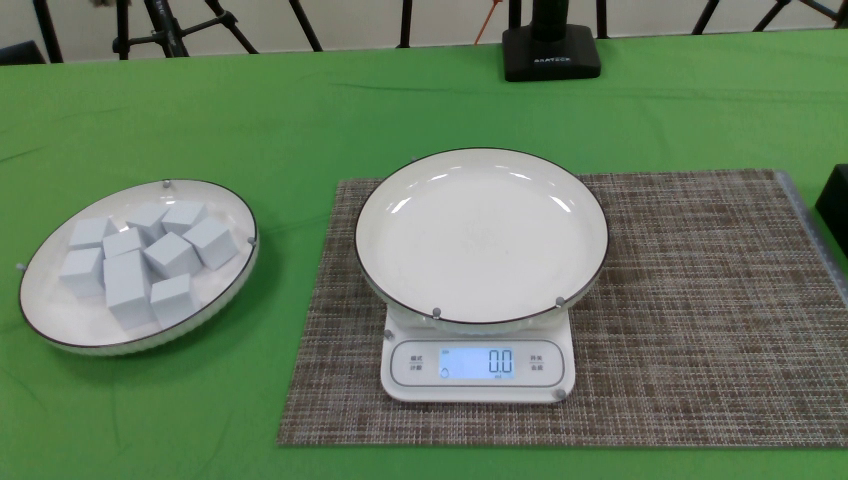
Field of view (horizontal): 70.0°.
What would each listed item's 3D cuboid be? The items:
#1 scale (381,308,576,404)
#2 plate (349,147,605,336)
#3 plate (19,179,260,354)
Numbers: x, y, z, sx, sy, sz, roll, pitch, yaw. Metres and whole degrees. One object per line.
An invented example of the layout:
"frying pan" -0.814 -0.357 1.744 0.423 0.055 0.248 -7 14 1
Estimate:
"scale" 0.045 0.043 0.512 0.148 0.032 0.199 0 46 5
"plate" 0.043 0.000 0.509 0.207 0.039 0.205 -2 46 2
"plate" -0.253 0.023 0.560 0.209 0.038 0.207 -2 45 3
